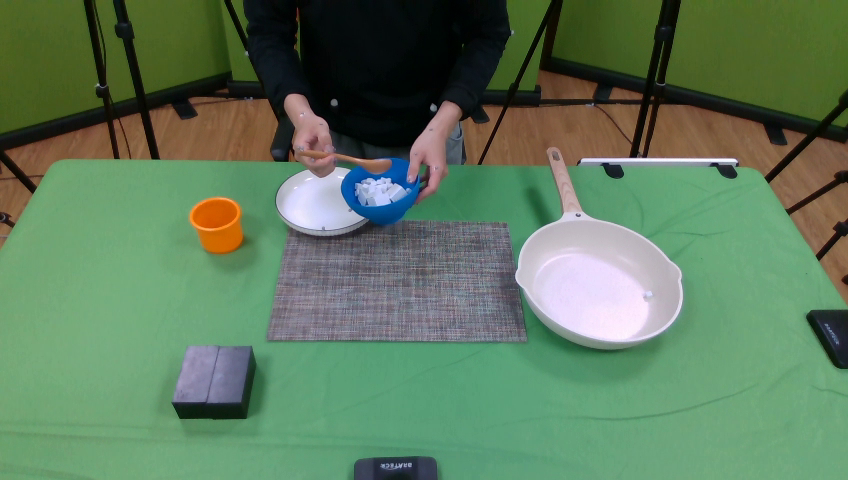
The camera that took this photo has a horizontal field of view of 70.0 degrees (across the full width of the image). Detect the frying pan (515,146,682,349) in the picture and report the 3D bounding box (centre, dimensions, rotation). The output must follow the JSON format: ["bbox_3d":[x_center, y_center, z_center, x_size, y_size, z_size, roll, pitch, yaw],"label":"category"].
[{"bbox_3d":[0.303,-0.004,1.168,0.307,0.103,0.484,-2,55,-7],"label":"frying pan"}]

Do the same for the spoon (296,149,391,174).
[{"bbox_3d":[-0.138,-0.142,1.067,0.194,0.041,0.021,7,52,-38],"label":"spoon"}]

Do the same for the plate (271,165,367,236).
[{"bbox_3d":[-0.204,-0.076,1.240,0.208,0.039,0.206,3,44,-2],"label":"plate"}]

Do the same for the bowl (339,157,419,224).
[{"bbox_3d":[-0.079,-0.083,1.149,0.151,0.077,0.150,-5,42,5],"label":"bowl"}]
